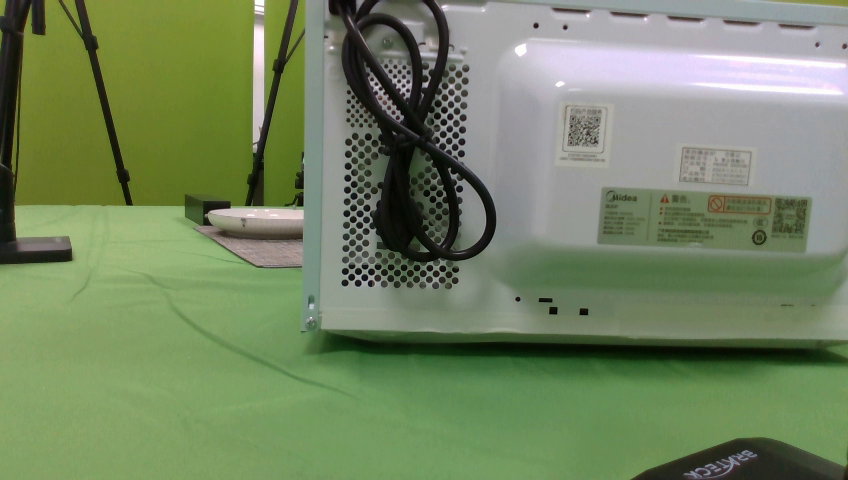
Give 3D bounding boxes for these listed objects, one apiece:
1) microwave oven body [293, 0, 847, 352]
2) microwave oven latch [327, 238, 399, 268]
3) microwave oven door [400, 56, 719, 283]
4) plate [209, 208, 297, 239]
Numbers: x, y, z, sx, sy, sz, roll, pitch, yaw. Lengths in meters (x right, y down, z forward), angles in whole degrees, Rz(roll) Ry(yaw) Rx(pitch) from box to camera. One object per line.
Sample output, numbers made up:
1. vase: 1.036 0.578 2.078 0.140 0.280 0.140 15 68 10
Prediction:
1. microwave oven body: 0.122 -0.055 0.550 0.442 0.260 0.325 3 7 -5
2. microwave oven latch: -0.069 0.015 0.694 0.079 0.029 0.030 3 7 -3
3. microwave oven door: 0.155 -0.077 0.697 0.356 0.243 0.039 2 8 -5
4. plate: -0.271 -0.029 1.074 0.208 0.039 0.207 3 7 0
